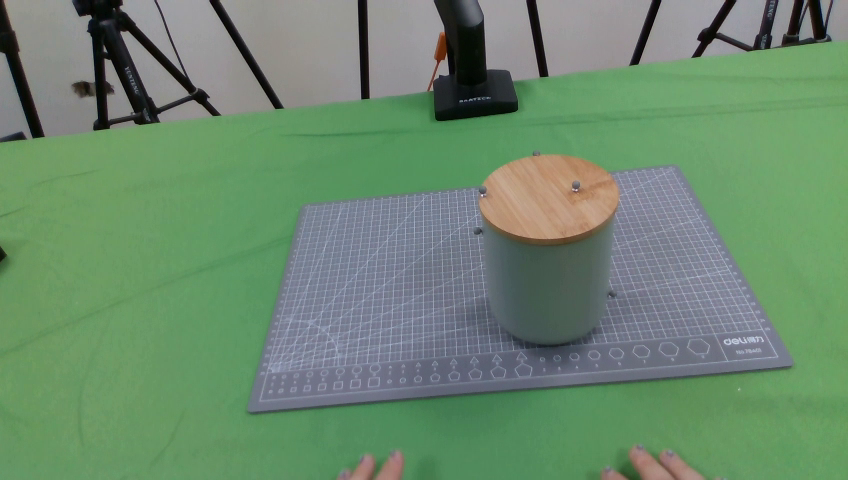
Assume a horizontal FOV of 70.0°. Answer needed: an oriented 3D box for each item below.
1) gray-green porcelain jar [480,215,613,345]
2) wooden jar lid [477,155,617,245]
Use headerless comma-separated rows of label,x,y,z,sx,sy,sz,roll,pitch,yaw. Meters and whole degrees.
gray-green porcelain jar,0.104,0.018,0.519,0.106,0.128,0.105,-6,40,5
wooden jar lid,0.096,-0.030,0.479,0.108,0.021,0.107,-6,41,6
